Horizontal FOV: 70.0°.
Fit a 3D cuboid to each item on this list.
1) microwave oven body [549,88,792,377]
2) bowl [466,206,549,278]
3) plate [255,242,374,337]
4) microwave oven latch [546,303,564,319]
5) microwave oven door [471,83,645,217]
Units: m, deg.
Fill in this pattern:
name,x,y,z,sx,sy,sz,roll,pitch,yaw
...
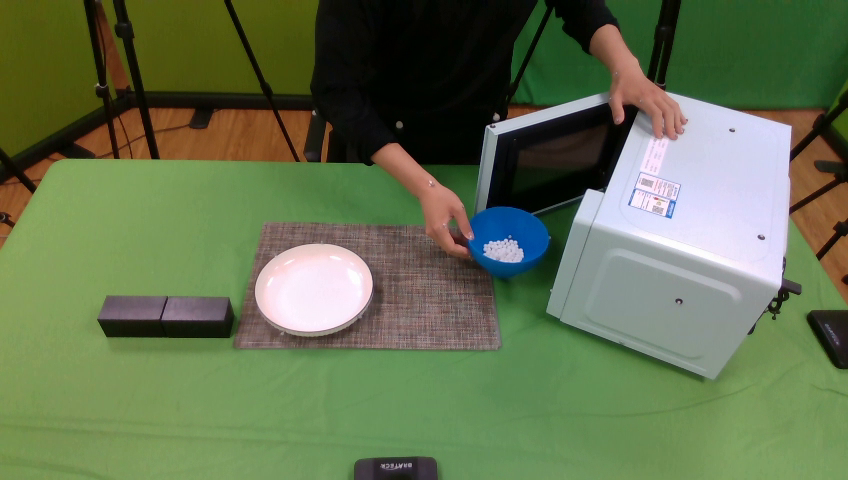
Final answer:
name,x,y,z,sx,sy,sz,roll,pitch,yaw
microwave oven body,0.456,-0.028,1.088,0.325,0.261,0.440,20,47,16
bowl,0.148,0.015,1.106,0.151,0.077,0.150,2,44,-2
plate,-0.192,0.090,1.079,0.208,0.039,0.206,2,46,-2
microwave oven latch,0.242,0.102,1.081,0.030,0.029,0.079,22,48,17
microwave oven door,0.264,-0.163,1.197,0.356,0.245,0.039,-19,50,-21
